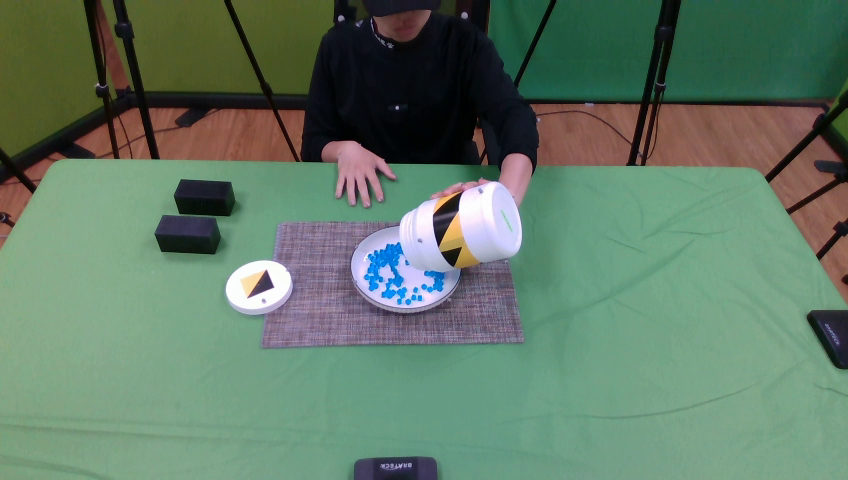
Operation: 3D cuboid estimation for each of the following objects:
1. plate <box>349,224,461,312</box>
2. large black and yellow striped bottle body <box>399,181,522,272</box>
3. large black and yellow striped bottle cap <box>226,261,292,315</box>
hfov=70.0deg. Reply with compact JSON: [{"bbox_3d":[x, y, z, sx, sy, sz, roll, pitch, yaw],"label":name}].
[{"bbox_3d":[-0.035,0.054,1.126,0.208,0.039,0.206,2,46,-2],"label":"plate"},{"bbox_3d":[0.061,-0.017,1.041,0.184,0.131,0.130,-14,38,30],"label":"large black and yellow striped bottle body"},{"bbox_3d":[-0.298,0.085,1.092,0.115,0.019,0.114,0,45,1],"label":"large black and yellow striped bottle cap"}]
